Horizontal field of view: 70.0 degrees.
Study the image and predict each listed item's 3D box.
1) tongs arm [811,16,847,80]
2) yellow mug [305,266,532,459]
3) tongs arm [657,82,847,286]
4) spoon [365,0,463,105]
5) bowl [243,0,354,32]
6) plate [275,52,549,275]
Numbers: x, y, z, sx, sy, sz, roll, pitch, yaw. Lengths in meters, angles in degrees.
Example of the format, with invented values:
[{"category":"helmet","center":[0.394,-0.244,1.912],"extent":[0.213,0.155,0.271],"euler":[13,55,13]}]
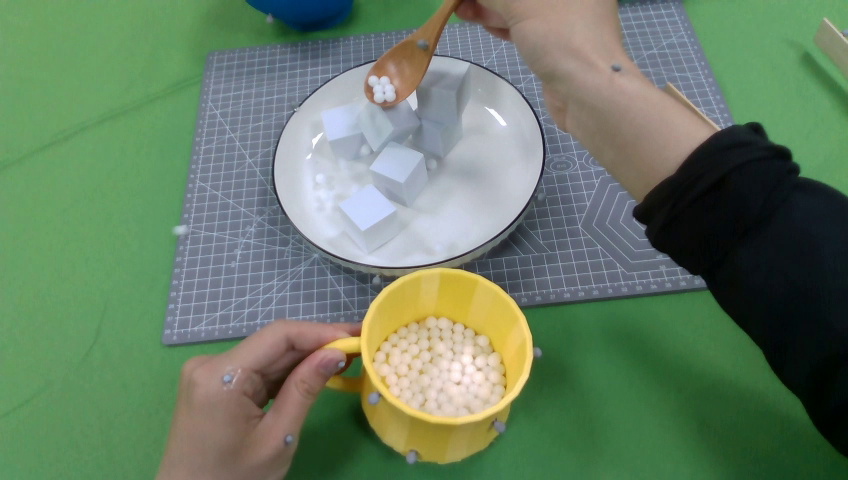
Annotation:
[{"category":"tongs arm","center":[0.369,-0.016,0.415],"extent":[0.051,0.027,0.381],"euler":[-18,61,-5]},{"category":"yellow mug","center":[-0.005,0.075,0.366],"extent":[0.131,0.064,0.099],"euler":[-1,53,-7]},{"category":"tongs arm","center":[0.295,0.016,0.407],"extent":[0.028,0.028,0.384],"euler":[-29,62,-15]},{"category":"spoon","center":[0.027,-0.160,0.396],"extent":[0.194,0.022,0.041],"euler":[-43,64,30]},{"category":"bowl","center":[-0.113,-0.254,0.576],"extent":[0.151,0.077,0.150],"euler":[-3,59,5]},{"category":"plate","center":[-0.009,-0.061,0.473],"extent":[0.207,0.039,0.206],"euler":[-2,60,4]}]
